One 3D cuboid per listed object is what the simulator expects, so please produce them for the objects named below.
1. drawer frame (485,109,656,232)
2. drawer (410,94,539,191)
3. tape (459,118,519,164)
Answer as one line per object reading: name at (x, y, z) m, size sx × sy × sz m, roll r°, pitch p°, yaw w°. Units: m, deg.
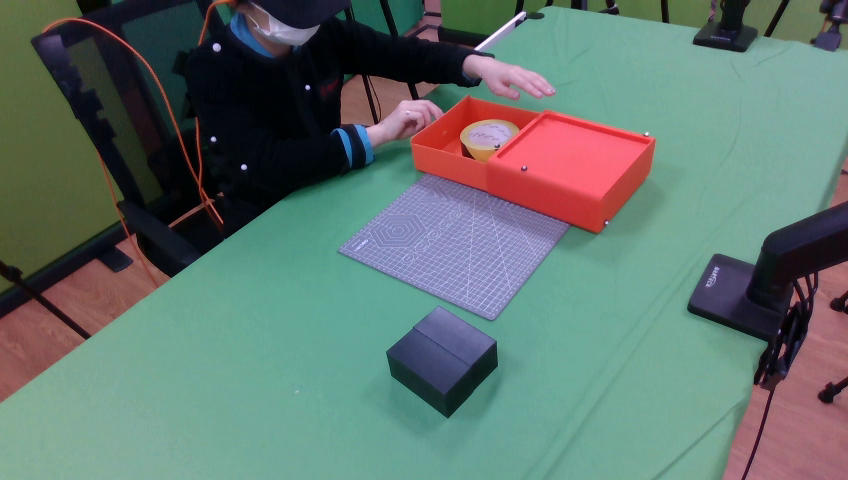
drawer frame at (0.247, -0.126, 1.029) m, size 0.212 × 0.083 × 0.202 m, roll 24°, pitch 49°, yaw 30°
drawer at (0.116, -0.180, 1.118) m, size 0.210 × 0.073 × 0.195 m, roll 22°, pitch 48°, yaw 31°
tape at (0.123, -0.175, 1.120) m, size 0.117 × 0.053 × 0.116 m, roll -6°, pitch 39°, yaw 5°
